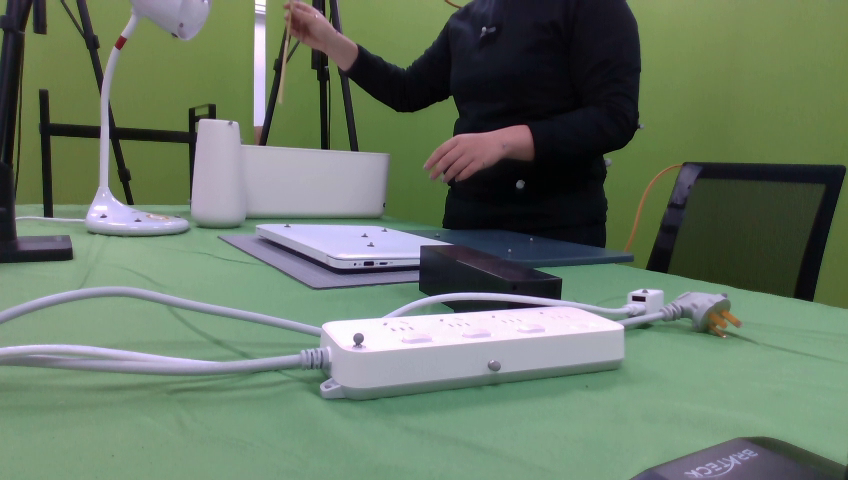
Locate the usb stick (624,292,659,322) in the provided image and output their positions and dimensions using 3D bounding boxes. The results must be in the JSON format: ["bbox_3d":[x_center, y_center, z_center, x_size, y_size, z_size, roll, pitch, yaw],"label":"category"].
[{"bbox_3d":[0.211,0.064,0.580,0.021,0.027,0.059,-1,-4,36],"label":"usb stick"}]

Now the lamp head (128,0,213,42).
[{"bbox_3d":[-0.423,-0.394,0.980,0.123,0.112,0.112,20,7,-3],"label":"lamp head"}]

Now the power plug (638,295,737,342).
[{"bbox_3d":[0.235,0.078,0.536,0.072,0.035,0.052,-34,40,-5],"label":"power plug"}]

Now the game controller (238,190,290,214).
[{"bbox_3d":[-0.391,-0.094,1.465,0.097,0.051,0.154,-3,8,-29],"label":"game controller"}]

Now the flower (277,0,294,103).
[{"bbox_3d":[-0.298,-0.470,1.332,0.044,0.361,0.038,10,-14,-26],"label":"flower"}]

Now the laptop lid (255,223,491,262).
[{"bbox_3d":[-0.093,0.000,0.911,0.243,0.013,0.355,1,7,-30],"label":"laptop lid"}]

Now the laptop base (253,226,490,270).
[{"bbox_3d":[-0.096,0.011,0.911,0.237,0.023,0.352,3,6,-32],"label":"laptop base"}]

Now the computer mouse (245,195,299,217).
[{"bbox_3d":[-0.344,-0.077,1.368,0.118,0.041,0.062,-12,16,-30],"label":"computer mouse"}]

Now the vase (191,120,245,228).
[{"bbox_3d":[-0.389,-0.124,1.142,0.098,0.200,0.098,3,9,0],"label":"vase"}]

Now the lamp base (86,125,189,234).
[{"bbox_3d":[-0.497,-0.105,1.027,0.179,0.180,0.160,1,7,3],"label":"lamp base"}]

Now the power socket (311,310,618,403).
[{"bbox_3d":[0.034,0.074,0.415,0.228,0.032,0.072,-1,7,-24],"label":"power socket"}]

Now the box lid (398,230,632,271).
[{"bbox_3d":[0.140,0.013,1.045,0.265,0.015,0.369,-1,8,-32],"label":"box lid"}]

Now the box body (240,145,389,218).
[{"bbox_3d":[-0.297,-0.143,1.474,0.366,0.160,0.253,-1,9,-30],"label":"box body"}]
